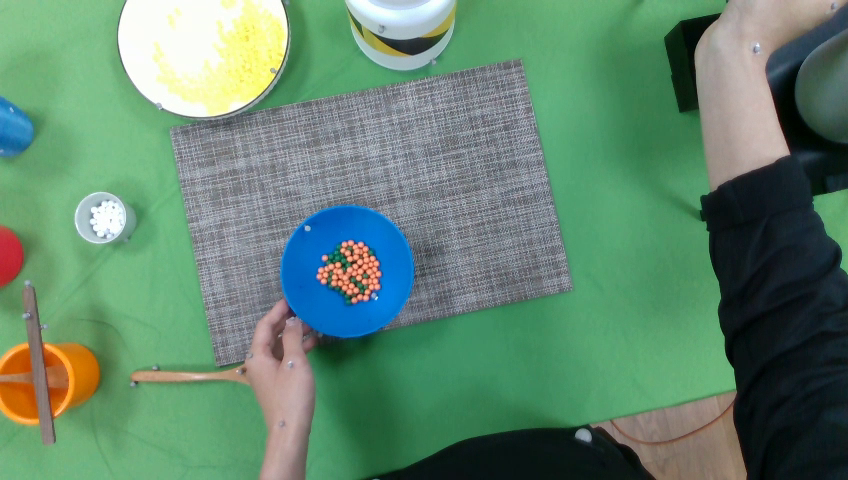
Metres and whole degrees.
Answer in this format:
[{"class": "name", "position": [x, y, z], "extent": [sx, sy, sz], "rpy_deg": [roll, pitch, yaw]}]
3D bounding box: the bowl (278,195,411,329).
[{"class": "bowl", "position": [-0.089, 0.026, 0.714], "extent": [0.151, 0.077, 0.151], "rpy_deg": [0, 89, -1]}]

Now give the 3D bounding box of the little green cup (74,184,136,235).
[{"class": "little green cup", "position": [-0.383, -0.035, 0.732], "extent": [0.061, 0.038, 0.061], "rpy_deg": [0, 88, -1]}]

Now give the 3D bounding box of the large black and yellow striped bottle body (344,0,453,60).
[{"class": "large black and yellow striped bottle body", "position": [-0.030, -0.295, 0.677], "extent": [0.131, 0.184, 0.130], "rpy_deg": [0, 87, -1]}]

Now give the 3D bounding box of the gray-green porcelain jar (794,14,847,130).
[{"class": "gray-green porcelain jar", "position": [0.405, -0.158, 0.533], "extent": [0.106, 0.126, 0.105], "rpy_deg": [0, 88, 0]}]

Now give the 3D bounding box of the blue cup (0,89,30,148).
[{"class": "blue cup", "position": [-0.517, -0.147, 0.701], "extent": [0.092, 0.100, 0.092], "rpy_deg": [0, 88, 0]}]

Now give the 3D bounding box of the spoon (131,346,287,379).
[{"class": "spoon", "position": [-0.262, 0.151, 0.736], "extent": [0.194, 0.021, 0.042], "rpy_deg": [-2, 103, -2]}]

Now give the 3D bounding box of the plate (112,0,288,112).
[{"class": "plate", "position": [-0.270, -0.257, 0.743], "extent": [0.209, 0.038, 0.209], "rpy_deg": [0, 88, -2]}]

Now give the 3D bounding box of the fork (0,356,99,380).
[{"class": "fork", "position": [-0.475, 0.143, 0.669], "extent": [0.209, 0.018, 0.028], "rpy_deg": [10, 89, -44]}]

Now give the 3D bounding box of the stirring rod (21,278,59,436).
[{"class": "stirring rod", "position": [-0.424, 0.128, 0.668], "extent": [0.014, 0.006, 0.176], "rpy_deg": [-10, 88, -4]}]
